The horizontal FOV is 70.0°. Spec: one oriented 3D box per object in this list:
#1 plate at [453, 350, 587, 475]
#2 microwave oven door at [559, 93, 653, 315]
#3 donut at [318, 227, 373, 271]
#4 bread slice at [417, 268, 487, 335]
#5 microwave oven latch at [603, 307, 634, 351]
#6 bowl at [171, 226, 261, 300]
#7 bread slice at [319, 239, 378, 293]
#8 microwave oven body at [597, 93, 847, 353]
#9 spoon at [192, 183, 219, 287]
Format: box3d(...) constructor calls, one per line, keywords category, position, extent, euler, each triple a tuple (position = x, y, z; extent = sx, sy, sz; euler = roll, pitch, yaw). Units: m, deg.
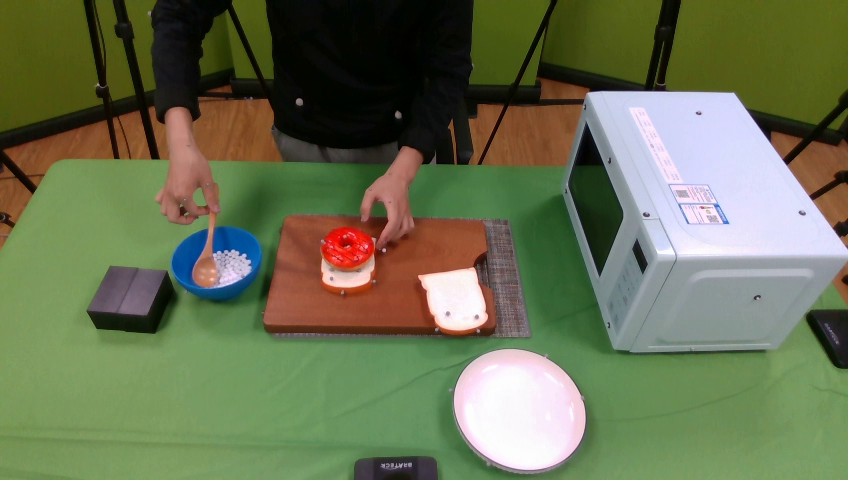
box3d(category="plate", position=(0.146, 0.267, 0.943), extent=(0.208, 0.039, 0.206), euler=(2, 45, -2))
box3d(category="microwave oven door", position=(0.327, -0.074, 1.123), extent=(0.039, 0.245, 0.353), euler=(-1, 46, -5))
box3d(category="donut", position=(-0.142, 0.017, 1.096), extent=(0.099, 0.048, 0.098), euler=(2, 45, -2))
box3d(category="bread slice", position=(0.055, 0.107, 1.063), extent=(0.107, 0.018, 0.133), euler=(-9, 48, -12))
box3d(category="microwave oven latch", position=(0.332, 0.153, 1.044), extent=(0.030, 0.029, 0.078), euler=(0, 45, -4))
box3d(category="bowl", position=(-0.363, 0.054, 1.081), extent=(0.151, 0.077, 0.150), euler=(3, 45, -3))
box3d(category="bread slice", position=(-0.139, 0.044, 1.111), extent=(0.105, 0.019, 0.130), euler=(0, 44, -3))
box3d(category="microwave oven body", position=(0.475, -0.041, 1.109), extent=(0.326, 0.261, 0.438), euler=(-1, 45, -4))
box3d(category="spoon", position=(-0.379, -0.011, 1.077), extent=(0.042, 0.021, 0.193), euler=(10, 76, -25))
